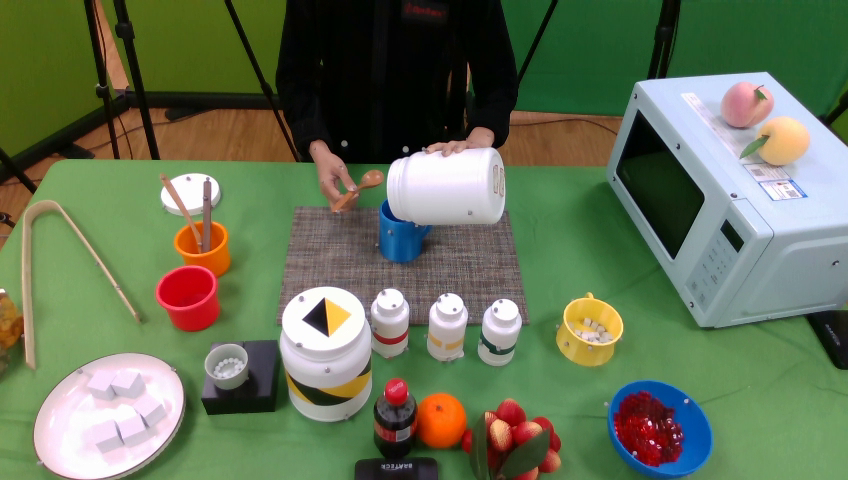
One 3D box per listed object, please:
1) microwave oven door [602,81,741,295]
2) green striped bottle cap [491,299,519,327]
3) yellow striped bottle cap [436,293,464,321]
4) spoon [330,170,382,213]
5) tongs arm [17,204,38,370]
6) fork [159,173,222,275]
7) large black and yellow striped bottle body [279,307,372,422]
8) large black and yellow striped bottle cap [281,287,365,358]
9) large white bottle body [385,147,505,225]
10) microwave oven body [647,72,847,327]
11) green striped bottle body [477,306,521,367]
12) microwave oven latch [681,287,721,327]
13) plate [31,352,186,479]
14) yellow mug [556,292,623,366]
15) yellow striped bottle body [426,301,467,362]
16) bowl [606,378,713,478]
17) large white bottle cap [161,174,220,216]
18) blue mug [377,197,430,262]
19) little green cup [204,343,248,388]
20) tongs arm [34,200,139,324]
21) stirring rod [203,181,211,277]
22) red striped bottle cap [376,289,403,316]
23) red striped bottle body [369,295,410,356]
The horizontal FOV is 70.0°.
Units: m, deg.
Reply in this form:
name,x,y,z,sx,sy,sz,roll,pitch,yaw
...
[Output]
name,x,y,z,sx,sy,sz,roll,pitch,yaw
microwave oven door,0.456,-0.107,1.162,0.039,0.245,0.353,-6,47,-11
green striped bottle cap,0.128,0.115,0.958,0.044,0.020,0.044,1,47,-1
yellow striped bottle cap,0.041,0.106,0.959,0.044,0.019,0.044,-1,50,1
spoon,-0.129,-0.093,1.130,0.041,0.022,0.193,21,29,12
tongs arm,-0.698,0.069,1.069,0.028,0.028,0.385,-20,50,-13
fork,-0.427,-0.029,1.103,0.028,0.018,0.207,-31,99,-31
large black and yellow striped bottle body,-0.145,0.173,0.907,0.131,0.185,0.130,2,46,-2
large black and yellow striped bottle cap,-0.141,0.112,0.847,0.115,0.019,0.114,5,45,-4
large white bottle body,0.037,-0.092,1.052,0.184,0.131,0.130,0,43,21
microwave oven body,0.607,-0.089,1.164,0.326,0.261,0.438,-7,46,-10
green striped bottle body,0.124,0.151,0.995,0.063,0.120,0.063,2,46,-2
microwave oven latch,0.494,0.119,1.087,0.030,0.029,0.078,-6,46,-9
plate,-0.459,0.262,0.898,0.209,0.038,0.208,2,46,-2
yellow mug,0.285,0.145,1.051,0.100,0.064,0.130,7,45,3
yellow striped bottle body,0.037,0.142,0.996,0.063,0.121,0.062,2,46,-2
bowl,0.340,0.292,0.906,0.151,0.077,0.150,2,46,-2
large white bottle cap,-0.483,-0.095,1.253,0.115,0.018,0.114,2,46,-2
blue mug,-0.033,-0.029,1.159,0.116,0.106,0.082,-22,52,-23
little green cup,-0.294,0.190,0.909,0.061,0.039,0.061,1,48,0
tongs arm,-0.622,0.034,1.105,0.051,0.026,0.382,-32,56,-26
stirring rod,-0.396,-0.021,1.107,0.014,0.006,0.176,-1,89,-1
red striped bottle cap,-0.054,0.098,0.958,0.044,0.018,0.044,0,48,1
red striped bottle body,-0.058,0.135,0.997,0.063,0.120,0.062,6,49,-6
